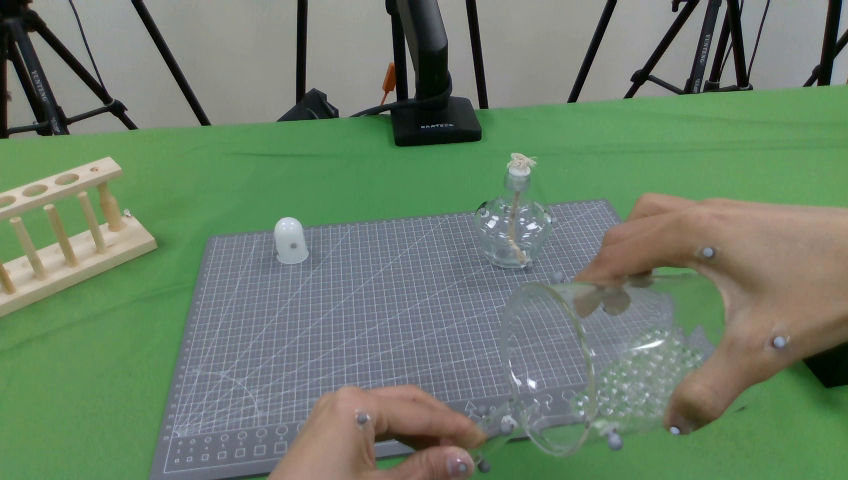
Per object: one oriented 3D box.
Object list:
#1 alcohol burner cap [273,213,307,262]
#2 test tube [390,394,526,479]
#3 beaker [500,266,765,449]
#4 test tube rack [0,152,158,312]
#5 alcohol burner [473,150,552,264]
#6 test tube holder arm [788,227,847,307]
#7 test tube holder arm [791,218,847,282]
[{"bbox_3d":[-0.138,-0.005,0.614,0.034,0.048,0.033,-1,38,1],"label":"alcohol burner cap"},{"bbox_3d":[-0.002,0.127,0.326,0.017,0.150,0.017,35,28,-21],"label":"test tube"},{"bbox_3d":[0.095,0.052,0.281,0.100,0.084,0.073,-5,49,-20],"label":"beaker"},{"bbox_3d":[-0.394,0.006,0.573,0.242,0.086,0.066,-29,46,-32],"label":"test tube rack"},{"bbox_3d":[0.087,-0.035,0.590,0.078,0.120,0.077,1,38,0],"label":"alcohol burner"},{"bbox_3d":[0.343,0.041,0.491,0.015,0.013,0.176,1,38,1],"label":"test tube holder arm"},{"bbox_3d":[0.345,0.009,0.522,0.015,0.010,0.087,1,38,1],"label":"test tube holder arm"}]
